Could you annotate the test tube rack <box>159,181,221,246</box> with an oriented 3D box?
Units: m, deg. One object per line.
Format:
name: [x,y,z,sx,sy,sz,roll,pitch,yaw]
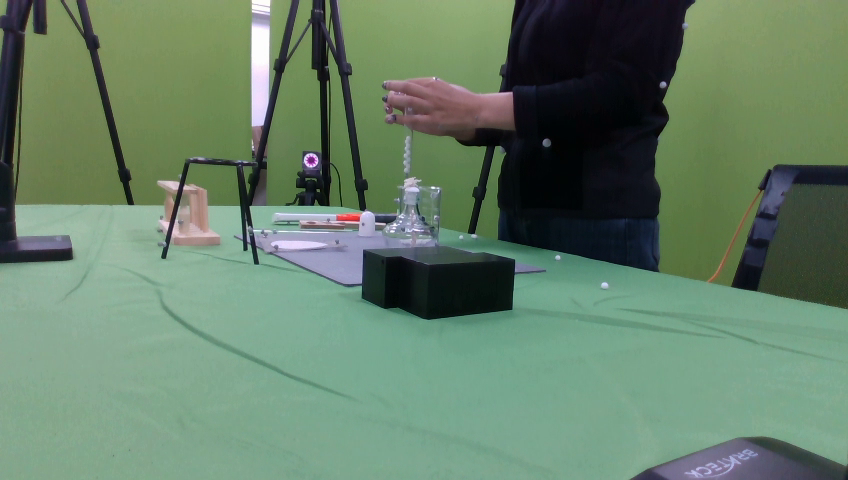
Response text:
test tube rack: [-0.395,-0.050,1.010,0.067,0.085,0.241,-2,8,-28]

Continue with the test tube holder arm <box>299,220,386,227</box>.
test tube holder arm: [-0.159,-0.032,1.196,0.179,0.015,0.013,-2,45,-29]

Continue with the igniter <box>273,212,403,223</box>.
igniter: [-0.179,-0.048,1.290,0.278,0.025,0.057,-1,-2,-24]

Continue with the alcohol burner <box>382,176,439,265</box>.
alcohol burner: [-0.018,-0.027,0.818,0.078,0.119,0.078,3,9,0]

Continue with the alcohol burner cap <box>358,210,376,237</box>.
alcohol burner cap: [-0.104,-0.030,1.098,0.034,0.048,0.034,2,7,0]

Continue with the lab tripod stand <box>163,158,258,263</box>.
lab tripod stand: [-0.265,-0.041,0.802,0.148,0.131,0.148,4,7,0]

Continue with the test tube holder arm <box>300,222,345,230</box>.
test tube holder arm: [-0.196,-0.027,1.170,0.088,0.015,0.010,-1,44,-29]

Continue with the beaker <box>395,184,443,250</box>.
beaker: [-0.007,-0.037,0.965,0.074,0.100,0.083,-4,11,-40]

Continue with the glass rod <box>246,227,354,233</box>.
glass rod: [-0.224,-0.017,1.109,0.201,0.008,0.008,1,7,-27]

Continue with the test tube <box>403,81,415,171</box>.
test tube: [-0.026,-0.191,1.021,0.017,0.150,0.017,2,11,0]

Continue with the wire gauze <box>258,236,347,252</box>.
wire gauze: [-0.189,0.005,0.931,0.122,0.011,0.124,1,7,-21]
